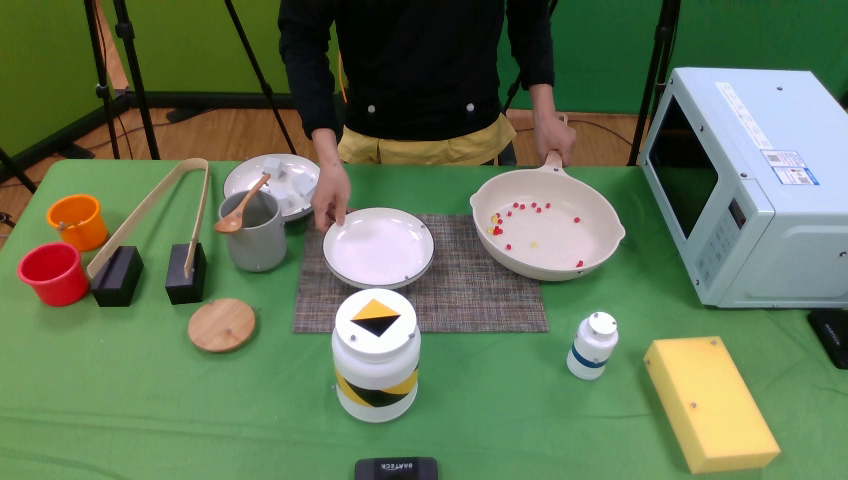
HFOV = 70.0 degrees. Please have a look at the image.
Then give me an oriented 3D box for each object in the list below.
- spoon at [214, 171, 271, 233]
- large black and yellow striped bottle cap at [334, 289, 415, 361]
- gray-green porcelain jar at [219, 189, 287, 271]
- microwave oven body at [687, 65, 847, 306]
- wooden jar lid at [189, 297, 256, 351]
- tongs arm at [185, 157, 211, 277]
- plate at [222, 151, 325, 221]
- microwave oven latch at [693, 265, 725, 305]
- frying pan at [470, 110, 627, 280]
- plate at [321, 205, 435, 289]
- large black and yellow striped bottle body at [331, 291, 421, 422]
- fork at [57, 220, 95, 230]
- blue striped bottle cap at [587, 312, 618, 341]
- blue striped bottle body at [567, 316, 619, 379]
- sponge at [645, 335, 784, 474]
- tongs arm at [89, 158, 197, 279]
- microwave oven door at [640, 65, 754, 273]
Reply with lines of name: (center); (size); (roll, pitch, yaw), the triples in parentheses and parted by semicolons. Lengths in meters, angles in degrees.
spoon: (-0.312, -0.070, 1.070); (0.041, 0.022, 0.193); (10, 43, 10)
large black and yellow striped bottle cap: (-0.069, 0.117, 0.850); (0.115, 0.019, 0.114); (2, 45, -2)
gray-green porcelain jar: (-0.310, -0.014, 1.113); (0.106, 0.127, 0.105); (2, 46, -2)
microwave oven body: (0.669, -0.111, 1.176); (0.326, 0.261, 0.439); (0, 46, -3)
wooden jar lid: (-0.342, 0.145, 1.033); (0.108, 0.021, 0.107); (3, 45, -2)
tongs arm: (-0.446, -0.058, 1.168); (0.051, 0.026, 0.382); (-5, 37, -6)
plate: (-0.310, -0.106, 1.263); (0.208, 0.039, 0.206); (2, 47, -2)
microwave oven latch: (0.523, 0.082, 1.116); (0.030, 0.029, 0.078); (2, 46, -1)
frying pan: (0.266, -0.110, 1.259); (0.306, 0.103, 0.485); (14, 54, 6)
plate: (-0.084, 0.016, 1.119); (0.209, 0.038, 0.208); (2, 44, -2)
large black and yellow striped bottle body: (-0.071, 0.175, 0.911); (0.131, 0.185, 0.130); (2, 47, -2)
fork: (-0.624, -0.027, 1.087); (0.028, 0.207, 0.018); (-3, 91, -17)
blue striped bottle cap: (0.279, 0.134, 0.947); (0.044, 0.021, 0.044); (2, 45, -2)
blue striped bottle body: (0.276, 0.168, 0.984); (0.063, 0.121, 0.062); (2, 46, -2)
sponge: (0.449, 0.253, 0.956); (0.118, 0.061, 0.205); (-4, 46, -7)
tongs arm: (-0.530, -0.057, 1.164); (0.028, 0.028, 0.385); (0, 36, 8)
microwave oven door: (0.523, -0.147, 1.193); (0.039, 0.245, 0.353); (0, 47, -3)
